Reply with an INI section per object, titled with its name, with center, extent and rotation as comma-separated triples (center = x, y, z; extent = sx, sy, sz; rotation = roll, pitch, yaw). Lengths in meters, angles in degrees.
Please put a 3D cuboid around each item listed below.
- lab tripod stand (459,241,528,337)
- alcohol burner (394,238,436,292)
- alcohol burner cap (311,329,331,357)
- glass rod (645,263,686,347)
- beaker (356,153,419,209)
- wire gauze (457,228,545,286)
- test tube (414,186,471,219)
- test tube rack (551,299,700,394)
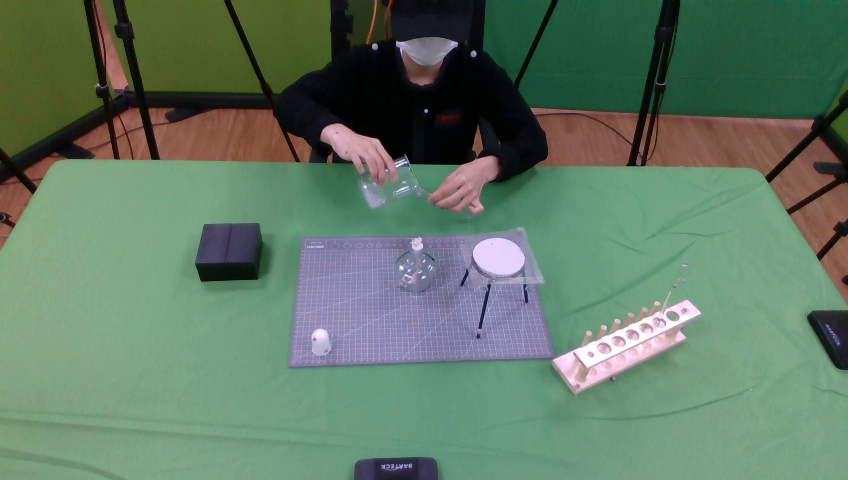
[lab tripod stand]
center = 0.122, 0.075, 1.054
extent = 0.148, 0.132, 0.147
rotation = 3, 44, -3
[alcohol burner]
center = -0.016, 0.038, 1.093
extent = 0.078, 0.119, 0.077
rotation = 2, 48, -2
[alcohol burner cap]
center = -0.173, 0.168, 1.004
extent = 0.034, 0.048, 0.033
rotation = 2, 46, -2
[glass rod]
center = 0.392, 0.110, 0.986
extent = 0.008, 0.201, 0.008
rotation = 2, 42, -1
[beaker]
center = -0.066, -0.104, 1.114
extent = 0.100, 0.084, 0.073
rotation = -22, 43, 1
[wire gauze]
center = 0.126, 0.029, 1.006
extent = 0.125, 0.011, 0.120
rotation = -4, 46, -10
[test tube]
center = 0.040, -0.071, 1.185
extent = 0.151, 0.017, 0.017
rotation = 24, 33, -38
[test tube rack]
center = 0.339, 0.166, 1.021
extent = 0.242, 0.085, 0.066
rotation = -19, 50, -21
